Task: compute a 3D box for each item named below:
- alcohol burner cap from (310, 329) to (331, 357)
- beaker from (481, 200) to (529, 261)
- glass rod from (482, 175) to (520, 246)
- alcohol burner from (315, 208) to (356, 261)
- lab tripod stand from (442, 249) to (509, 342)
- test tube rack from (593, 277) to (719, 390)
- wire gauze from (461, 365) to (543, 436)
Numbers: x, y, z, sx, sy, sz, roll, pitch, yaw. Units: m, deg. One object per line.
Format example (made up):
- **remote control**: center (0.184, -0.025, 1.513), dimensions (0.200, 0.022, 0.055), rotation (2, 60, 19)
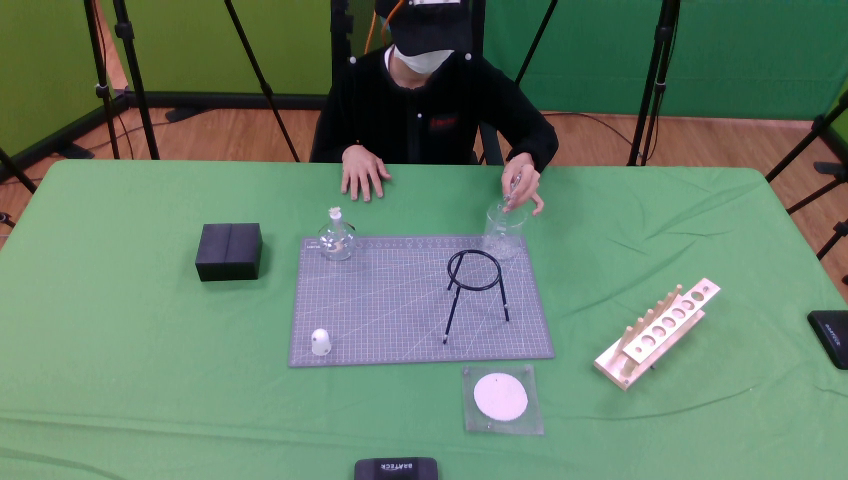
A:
- **alcohol burner cap**: center (-0.173, 0.168, 1.004), dimensions (0.034, 0.048, 0.033), rotation (2, 46, -2)
- **beaker**: center (0.153, -0.015, 1.169), dimensions (0.084, 0.101, 0.073), rotation (-2, 46, -7)
- **glass rod**: center (0.141, -0.050, 1.128), dimensions (0.008, 0.200, 0.008), rotation (8, 51, -10)
- **alcohol burner**: center (-0.166, -0.017, 1.134), dimensions (0.078, 0.119, 0.077), rotation (2, 48, -2)
- **lab tripod stand**: center (0.082, 0.090, 1.036), dimensions (0.148, 0.132, 0.147), rotation (3, 44, -3)
- **test tube rack**: center (0.401, 0.148, 1.043), dimensions (0.242, 0.085, 0.066), rotation (-30, 55, -29)
- **wire gauze**: center (0.124, 0.254, 0.973), dimensions (0.125, 0.011, 0.120), rotation (3, 47, -3)
